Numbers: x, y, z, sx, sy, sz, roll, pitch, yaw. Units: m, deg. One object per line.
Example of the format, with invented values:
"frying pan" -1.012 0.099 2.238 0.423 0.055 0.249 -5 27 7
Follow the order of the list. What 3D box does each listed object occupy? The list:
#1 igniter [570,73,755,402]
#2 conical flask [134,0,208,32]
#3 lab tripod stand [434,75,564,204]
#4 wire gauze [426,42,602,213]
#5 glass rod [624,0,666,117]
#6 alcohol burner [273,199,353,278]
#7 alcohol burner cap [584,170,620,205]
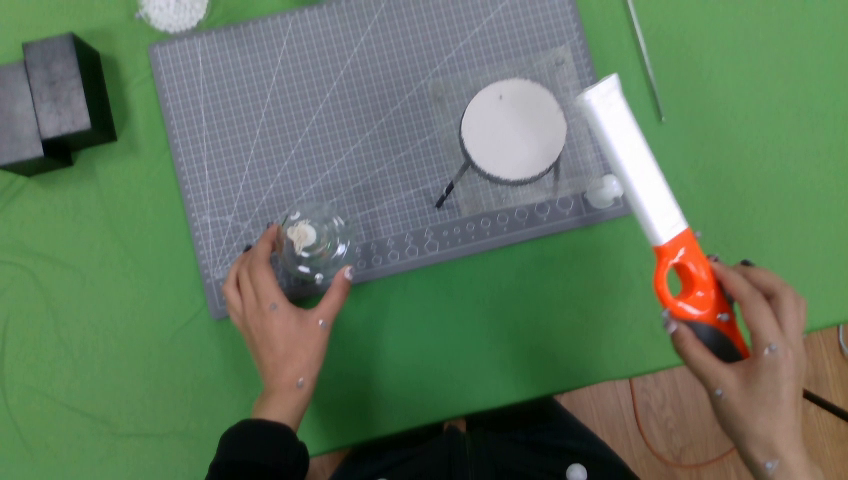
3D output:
"igniter" 0.188 0.004 0.464 0.057 0.025 0.277 -33 101 -13
"conical flask" -0.263 -0.258 0.583 0.075 0.122 0.075 0 86 -1
"lab tripod stand" 0.070 -0.085 0.569 0.148 0.131 0.148 0 88 0
"wire gauze" 0.075 -0.092 0.502 0.125 0.011 0.121 -13 88 0
"glass rod" 0.226 -0.226 0.643 0.008 0.008 0.199 -16 86 -2
"alcohol burner" -0.107 -0.002 0.571 0.078 0.119 0.078 0 88 -2
"alcohol burner cap" 0.184 -0.055 0.614 0.034 0.048 0.034 0 86 -1
